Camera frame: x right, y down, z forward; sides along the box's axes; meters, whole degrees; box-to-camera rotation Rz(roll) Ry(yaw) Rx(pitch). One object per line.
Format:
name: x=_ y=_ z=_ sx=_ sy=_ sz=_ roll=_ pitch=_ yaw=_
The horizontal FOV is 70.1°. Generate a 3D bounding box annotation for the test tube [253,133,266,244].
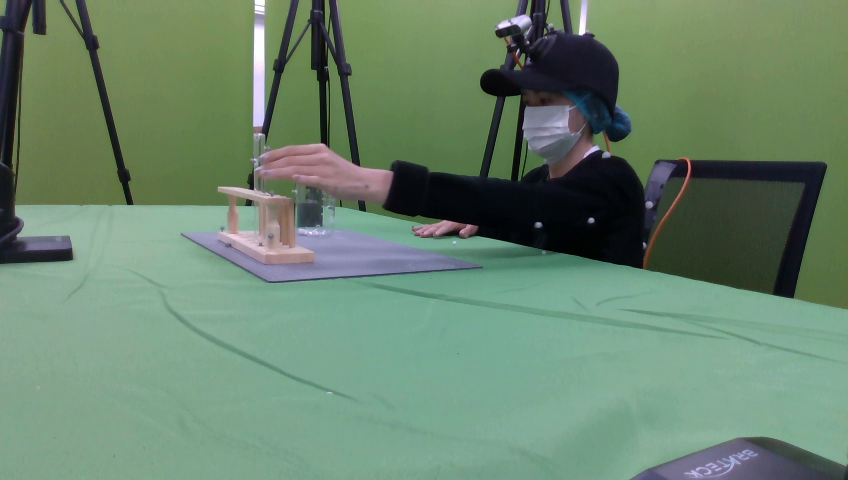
test tube: x=-0.225 y=-0.070 z=0.826 sx=0.017 sy=0.150 sz=0.017 roll=1 pitch=2 yaw=0

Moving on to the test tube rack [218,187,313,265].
test tube rack: x=-0.235 y=-0.027 z=0.872 sx=0.067 sy=0.085 sz=0.241 roll=-2 pitch=8 yaw=-32

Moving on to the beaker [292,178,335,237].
beaker: x=-0.195 y=-0.058 z=1.080 sx=0.074 sy=0.100 sz=0.083 roll=-4 pitch=11 yaw=-40
